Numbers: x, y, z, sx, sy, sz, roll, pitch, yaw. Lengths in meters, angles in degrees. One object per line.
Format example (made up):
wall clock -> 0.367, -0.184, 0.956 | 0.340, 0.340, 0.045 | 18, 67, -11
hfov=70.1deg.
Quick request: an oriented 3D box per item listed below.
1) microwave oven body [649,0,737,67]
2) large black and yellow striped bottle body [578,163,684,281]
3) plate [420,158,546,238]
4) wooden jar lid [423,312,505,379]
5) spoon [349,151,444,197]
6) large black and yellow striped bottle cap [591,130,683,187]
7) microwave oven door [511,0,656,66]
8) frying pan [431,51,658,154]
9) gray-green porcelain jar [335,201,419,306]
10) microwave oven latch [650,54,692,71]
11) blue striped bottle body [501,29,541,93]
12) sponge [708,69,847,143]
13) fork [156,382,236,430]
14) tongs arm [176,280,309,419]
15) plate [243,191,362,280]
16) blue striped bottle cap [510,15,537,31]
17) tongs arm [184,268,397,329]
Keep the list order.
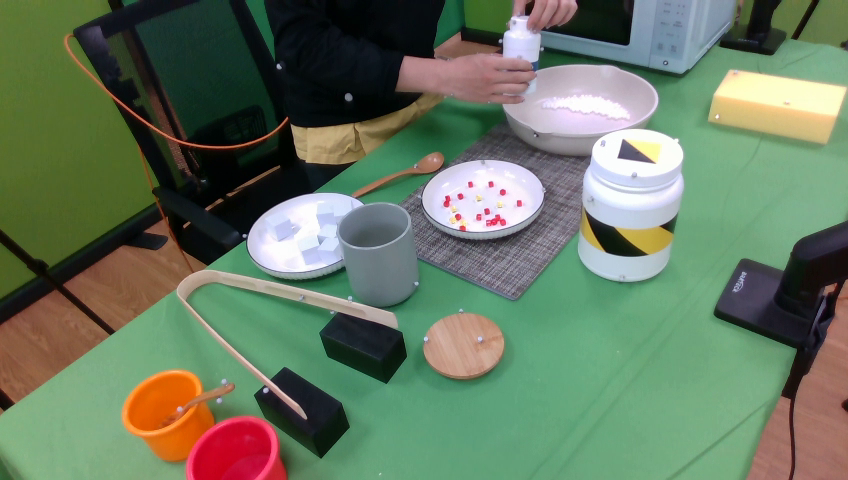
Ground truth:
microwave oven body -> 0.475, -0.602, 1.411 | 0.438, 0.261, 0.327 | 23, 50, 32
large black and yellow striped bottle body -> 0.291, -0.046, 0.859 | 0.131, 0.185, 0.130 | -4, 41, 4
plate -> 0.099, -0.067, 1.017 | 0.209, 0.038, 0.208 | -4, 40, 4
wooden jar lid -> 0.053, 0.142, 0.800 | 0.108, 0.021, 0.108 | -5, 39, 4
spoon -> -0.051, -0.123, 1.120 | 0.194, 0.022, 0.041 | -22, 61, -18
large black and yellow striped bottle cap -> 0.282, -0.111, 0.803 | 0.115, 0.019, 0.114 | -3, 41, 3
microwave oven door -> 0.351, -0.540, 1.349 | 0.353, 0.245, 0.039 | 24, 50, 31
frying pan -> 0.216, -0.302, 1.223 | 0.484, 0.103, 0.308 | 29, 50, 24
gray-green porcelain jar -> -0.064, 0.024, 0.872 | 0.106, 0.127, 0.105 | -4, 41, 4
microwave oven latch -> 0.530, -0.386, 1.301 | 0.078, 0.029, 0.030 | 23, 50, 31
blue striped bottle body -> 0.166, -0.318, 1.034 | 0.063, 0.121, 0.063 | 0, 29, 0
sponge -> 0.663, -0.256, 1.142 | 0.205, 0.061, 0.118 | 18, 47, 28
fork -> -0.262, 0.189, 0.690 | 0.018, 0.206, 0.028 | 49, 43, -7
tongs arm -> -0.254, 0.133, 0.801 | 0.028, 0.028, 0.384 | -41, 41, -23
plate -> -0.188, -0.005, 0.992 | 0.207, 0.039, 0.206 | -4, 40, 4
blue striped bottle cap -> 0.166, -0.362, 1.007 | 0.044, 0.020, 0.044 | -1, 26, 1
tongs arm -> -0.202, 0.084, 0.848 | 0.382, 0.027, 0.051 | 11, 45, 35
